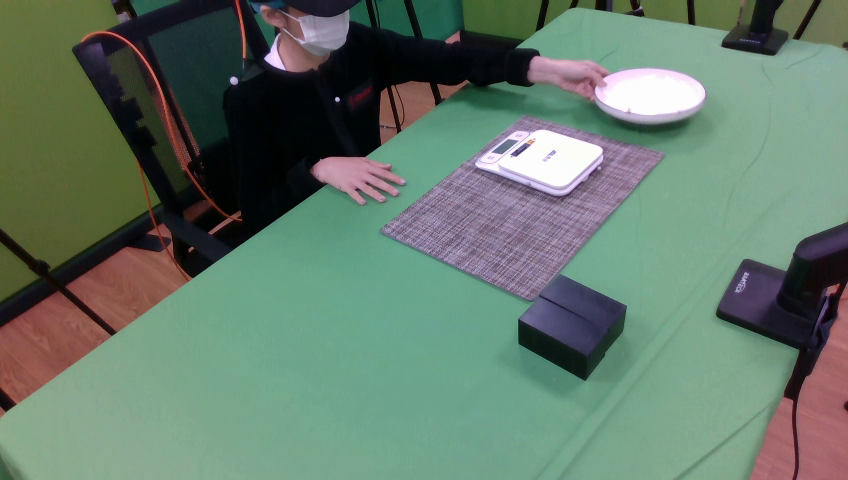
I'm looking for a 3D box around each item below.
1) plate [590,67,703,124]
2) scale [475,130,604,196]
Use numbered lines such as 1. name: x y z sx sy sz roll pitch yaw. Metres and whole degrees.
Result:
1. plate: 0.433 -0.279 1.186 0.207 0.039 0.206 -5 38 4
2. scale: 0.209 -0.148 1.105 0.199 0.032 0.149 26 50 34
